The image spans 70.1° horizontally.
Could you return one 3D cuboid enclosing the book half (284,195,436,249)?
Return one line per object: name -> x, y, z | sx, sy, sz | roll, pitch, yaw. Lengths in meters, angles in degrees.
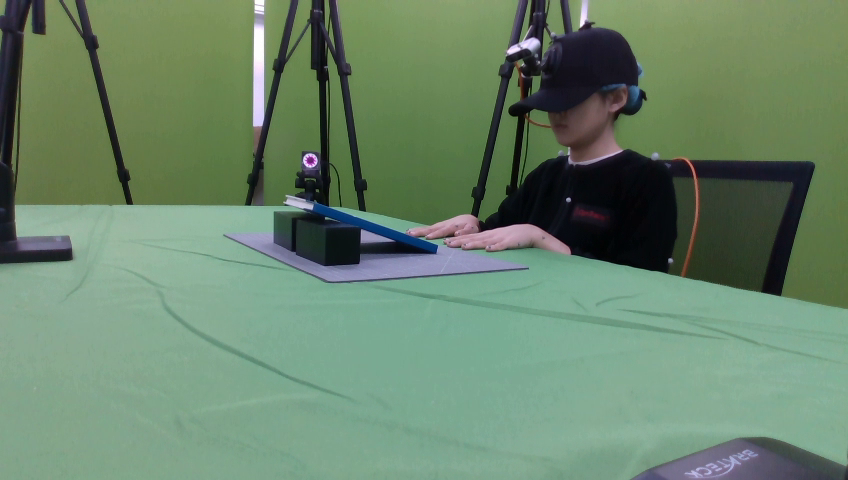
book half -> -0.100, -0.028, 0.935 | 0.211, 0.007, 0.142 | 19, -1, -29
